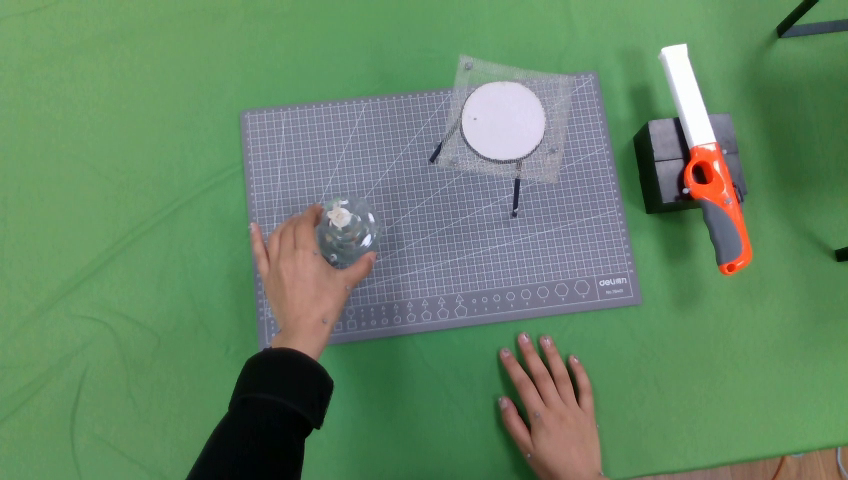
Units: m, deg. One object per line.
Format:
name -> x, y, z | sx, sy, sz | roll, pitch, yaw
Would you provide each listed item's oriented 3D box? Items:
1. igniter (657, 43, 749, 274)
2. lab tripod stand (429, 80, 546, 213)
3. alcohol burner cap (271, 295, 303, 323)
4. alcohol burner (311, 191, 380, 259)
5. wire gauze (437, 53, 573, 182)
igniter -> 0.318, -0.097, 0.692 | 0.057, 0.025, 0.275 | -10, 77, -1
lab tripod stand -> 0.080, -0.113, 0.679 | 0.148, 0.132, 0.147 | 0, 77, -1
alcohol burner cap -> -0.157, 0.076, 0.683 | 0.034, 0.048, 0.033 | 1, 80, -3
alcohol burner -> -0.087, -0.019, 0.666 | 0.078, 0.119, 0.077 | 0, 81, -3
wire gauze -> 0.084, -0.125, 0.613 | 0.121, 0.011, 0.124 | 12, 78, 1
